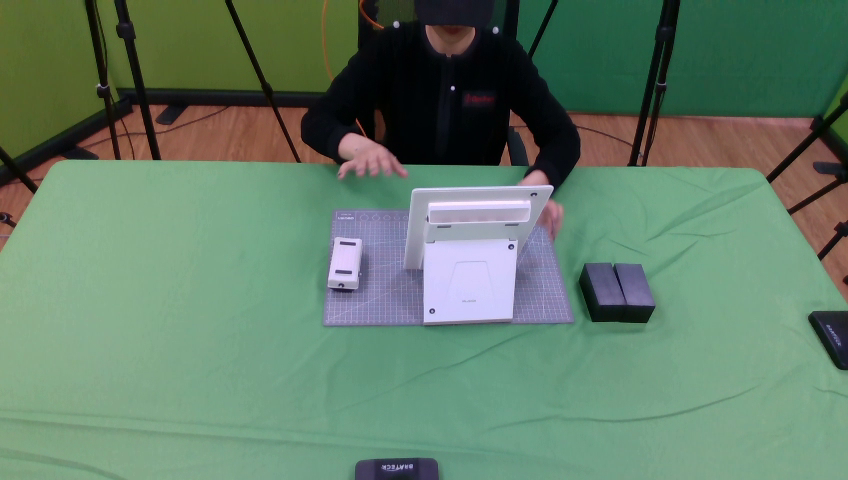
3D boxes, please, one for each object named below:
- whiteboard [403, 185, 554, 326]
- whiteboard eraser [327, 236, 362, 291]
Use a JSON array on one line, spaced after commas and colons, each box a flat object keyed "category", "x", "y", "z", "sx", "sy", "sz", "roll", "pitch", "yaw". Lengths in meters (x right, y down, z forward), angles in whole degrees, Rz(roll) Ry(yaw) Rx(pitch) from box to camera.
[{"category": "whiteboard", "x": 0.081, "y": 0.044, "z": 1.005, "sx": 0.217, "sy": 0.306, "sz": 0.143, "roll": -1, "pitch": 65, "yaw": -5}, {"category": "whiteboard eraser", "x": -0.147, "y": 0.044, "z": 1.127, "sx": 0.055, "sy": 0.042, "sz": 0.112, "roll": 2, "pitch": 46, "yaw": -2}]
